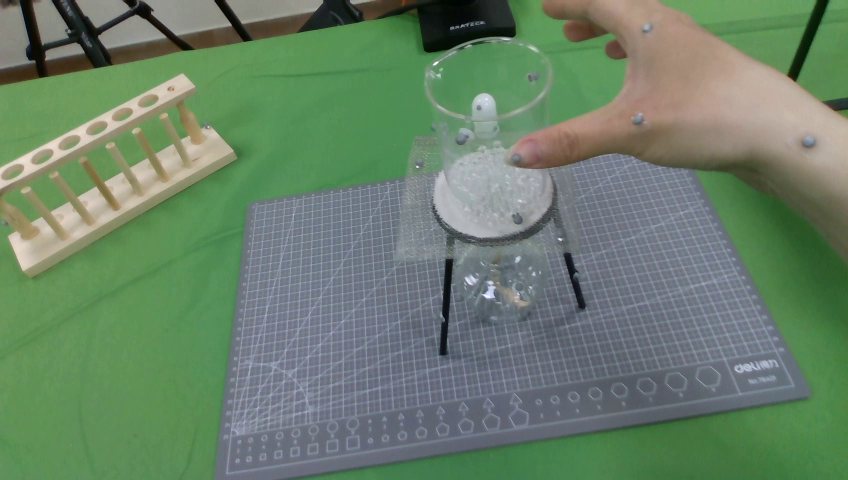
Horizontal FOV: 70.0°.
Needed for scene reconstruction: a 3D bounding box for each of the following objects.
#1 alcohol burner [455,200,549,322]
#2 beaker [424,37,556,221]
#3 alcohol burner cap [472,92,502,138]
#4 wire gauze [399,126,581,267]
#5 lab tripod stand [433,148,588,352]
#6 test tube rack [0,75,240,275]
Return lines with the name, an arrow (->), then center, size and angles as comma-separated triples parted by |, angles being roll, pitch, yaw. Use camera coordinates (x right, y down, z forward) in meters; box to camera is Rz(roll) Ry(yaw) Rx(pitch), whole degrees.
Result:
alcohol burner -> 0.062, 0.013, 0.487 | 0.078, 0.120, 0.077 | -5, 49, 7
beaker -> 0.042, -0.067, 0.393 | 0.083, 0.101, 0.074 | 23, 60, 26
alcohol burner cap -> 0.068, -0.139, 0.660 | 0.034, 0.048, 0.033 | -5, 52, 7
wire gauze -> 0.046, -0.037, 0.431 | 0.121, 0.011, 0.124 | -2, 55, 10
lab tripod stand -> 0.058, 0.008, 0.478 | 0.148, 0.133, 0.147 | -4, 53, 6
test tube rack -> -0.331, -0.073, 0.644 | 0.242, 0.086, 0.066 | -35, 54, -18
